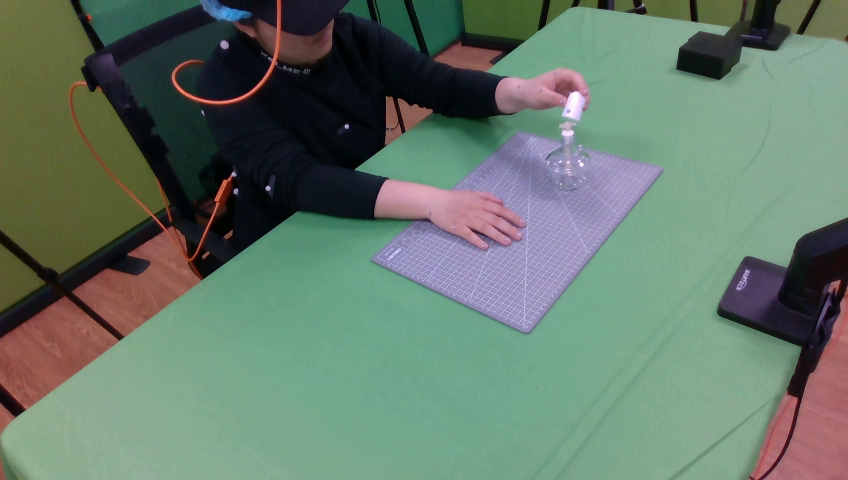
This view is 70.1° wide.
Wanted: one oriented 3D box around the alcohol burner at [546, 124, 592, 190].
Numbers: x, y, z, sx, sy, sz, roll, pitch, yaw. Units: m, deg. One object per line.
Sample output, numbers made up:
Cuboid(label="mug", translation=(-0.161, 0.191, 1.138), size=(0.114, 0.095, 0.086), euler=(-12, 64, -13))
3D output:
Cuboid(label="alcohol burner", translation=(0.247, -0.146, 1.035), size=(0.078, 0.120, 0.077), euler=(-7, 41, 6))

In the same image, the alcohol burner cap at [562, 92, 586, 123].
Cuboid(label="alcohol burner cap", translation=(0.250, -0.221, 0.996), size=(0.034, 0.048, 0.034), euler=(17, 9, -2))
